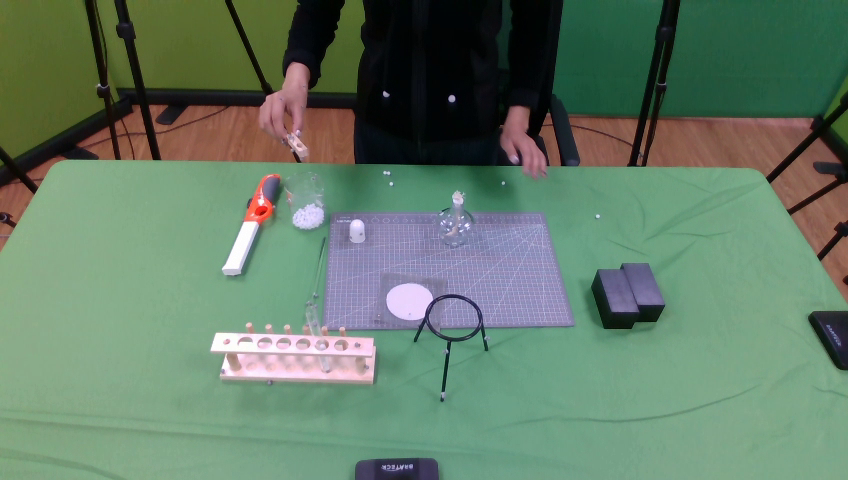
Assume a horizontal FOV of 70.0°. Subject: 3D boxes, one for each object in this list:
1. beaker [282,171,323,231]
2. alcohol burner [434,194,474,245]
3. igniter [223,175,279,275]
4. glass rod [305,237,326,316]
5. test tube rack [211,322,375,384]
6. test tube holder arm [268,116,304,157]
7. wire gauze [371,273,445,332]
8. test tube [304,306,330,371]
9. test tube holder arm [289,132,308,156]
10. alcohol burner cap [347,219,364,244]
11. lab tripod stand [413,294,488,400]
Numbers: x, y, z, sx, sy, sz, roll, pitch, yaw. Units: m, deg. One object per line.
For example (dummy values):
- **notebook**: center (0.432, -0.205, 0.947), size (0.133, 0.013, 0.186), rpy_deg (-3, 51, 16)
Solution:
- **beaker**: center (-0.234, -0.073, 1.199), size (0.084, 0.101, 0.074), rpy_deg (25, 50, 17)
- **alcohol burner**: center (0.061, -0.046, 1.183), size (0.078, 0.119, 0.077), rpy_deg (3, 47, -3)
- **igniter**: center (-0.341, -0.039, 1.207), size (0.057, 0.025, 0.275), rpy_deg (-1, 45, 9)
- **glass rod**: center (-0.202, 0.063, 1.131), size (0.008, 0.008, 0.198), rpy_deg (4, 44, 0)
- **test tube rack**: center (-0.203, 0.176, 0.969), size (0.242, 0.085, 0.066), rpy_deg (3, 46, -2)
- **test tube holder arm**: center (-0.255, -0.192, 1.110), size (0.013, 0.015, 0.177), rpy_deg (-18, 38, -26)
- **wire gauze**: center (-0.028, 0.108, 1.100), size (0.125, 0.011, 0.121), rpy_deg (7, 45, 4)
- **test tube**: center (-0.162, 0.153, 0.925), size (0.017, 0.151, 0.017), rpy_deg (-2, 44, 2)
- **test tube holder arm**: center (-0.228, -0.172, 1.080), size (0.010, 0.015, 0.087), rpy_deg (-17, 37, -25)
- **alcohol burner cap**: center (-0.135, -0.019, 1.190), size (0.034, 0.048, 0.033), rpy_deg (2, 46, -2)
- **lab tripod stand**: center (0.044, 0.159, 0.972), size (0.148, 0.132, 0.147), rpy_deg (2, 44, -2)
